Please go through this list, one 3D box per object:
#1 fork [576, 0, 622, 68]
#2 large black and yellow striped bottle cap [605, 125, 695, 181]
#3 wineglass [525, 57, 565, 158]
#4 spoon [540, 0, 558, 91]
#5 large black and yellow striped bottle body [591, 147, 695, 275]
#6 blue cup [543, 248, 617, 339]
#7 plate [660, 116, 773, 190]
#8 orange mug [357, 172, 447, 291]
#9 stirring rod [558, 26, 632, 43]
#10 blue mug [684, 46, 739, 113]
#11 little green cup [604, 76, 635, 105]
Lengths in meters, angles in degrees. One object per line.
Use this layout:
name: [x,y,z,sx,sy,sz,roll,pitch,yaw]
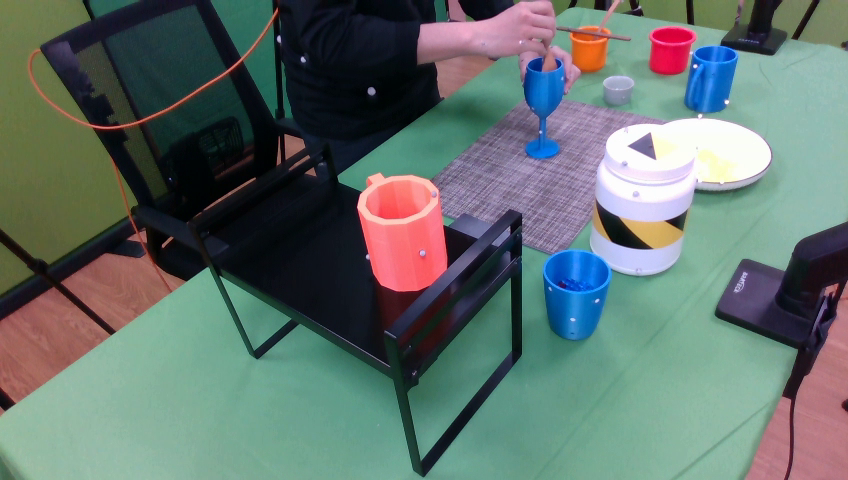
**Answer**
fork: [0.409,-0.484,1.381,0.028,0.019,0.207,37,101,46]
large black and yellow striped bottle cap: [0.304,-0.120,0.817,0.115,0.019,0.114,-3,41,3]
wineglass: [0.219,-0.239,1.101,0.074,0.173,0.073,-4,41,4]
spoon: [0.205,-0.343,1.018,0.042,0.194,0.021,-28,35,-20]
large black and yellow striped bottle body: [0.313,-0.056,0.870,0.131,0.185,0.130,-4,40,4]
blue cup: [0.199,0.076,0.797,0.092,0.100,0.092,-4,39,4]
plate: [0.495,-0.149,1.063,0.209,0.038,0.208,-5,40,5]
orange mug: [-0.030,-0.018,0.669,0.084,0.101,0.125,-23,46,-16]
stirring rod: [0.381,-0.462,1.356,0.175,0.006,0.014,22,49,29]
blue mug: [0.556,-0.310,1.190,0.117,0.106,0.081,-32,46,-25]
little green cup: [0.408,-0.311,1.266,0.061,0.039,0.061,-4,40,4]
